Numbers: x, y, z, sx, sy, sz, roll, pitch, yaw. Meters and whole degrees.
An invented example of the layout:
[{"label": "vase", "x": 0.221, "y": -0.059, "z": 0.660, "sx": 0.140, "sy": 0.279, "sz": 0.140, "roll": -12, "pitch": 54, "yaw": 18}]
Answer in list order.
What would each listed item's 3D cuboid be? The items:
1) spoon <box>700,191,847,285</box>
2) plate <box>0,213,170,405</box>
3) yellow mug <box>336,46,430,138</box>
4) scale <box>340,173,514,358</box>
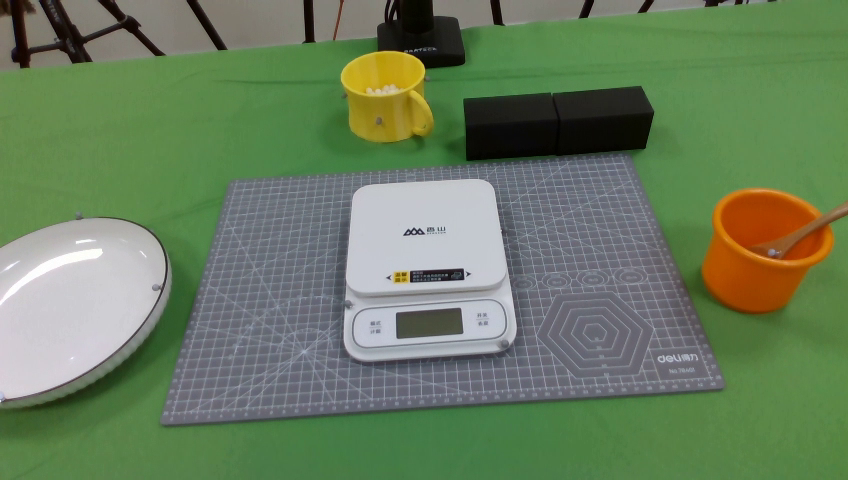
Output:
[{"label": "spoon", "x": 0.318, "y": -0.017, "z": 0.493, "sx": 0.022, "sy": 0.194, "sz": 0.041, "roll": 26, "pitch": 41, "yaw": -33}, {"label": "plate", "x": -0.334, "y": 0.059, "z": 0.549, "sx": 0.209, "sy": 0.038, "sz": 0.207, "roll": -2, "pitch": 47, "yaw": 2}, {"label": "yellow mug", "x": -0.040, "y": -0.172, "z": 0.723, "sx": 0.129, "sy": 0.064, "sz": 0.100, "roll": 35, "pitch": 59, "yaw": 30}, {"label": "scale", "x": -0.001, "y": 0.015, "z": 0.564, "sx": 0.149, "sy": 0.032, "sz": 0.199, "roll": -4, "pitch": 47, "yaw": 1}]
